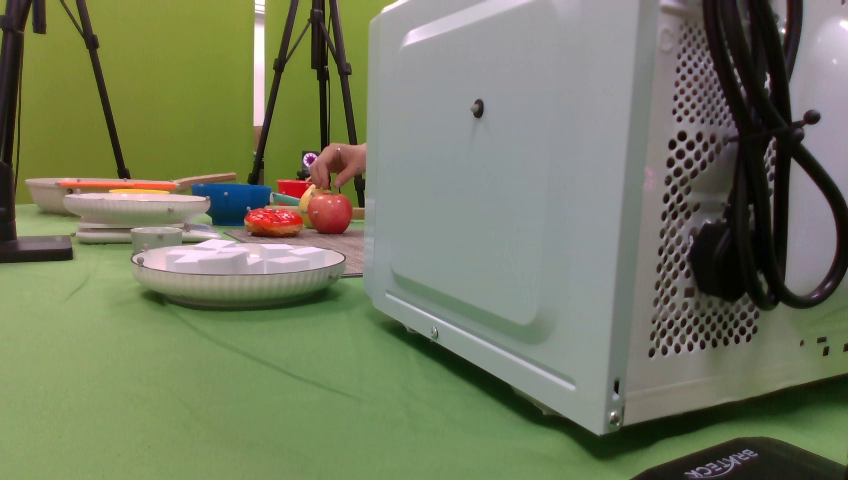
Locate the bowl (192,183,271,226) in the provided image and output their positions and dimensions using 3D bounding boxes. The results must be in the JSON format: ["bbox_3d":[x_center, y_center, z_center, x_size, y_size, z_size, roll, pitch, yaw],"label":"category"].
[{"bbox_3d":[-0.382,-0.071,1.202,0.151,0.077,0.151,3,7,0],"label":"bowl"}]

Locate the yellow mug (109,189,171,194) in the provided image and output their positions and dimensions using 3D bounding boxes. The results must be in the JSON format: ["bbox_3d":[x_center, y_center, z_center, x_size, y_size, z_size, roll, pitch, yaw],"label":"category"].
[{"bbox_3d":[-0.519,-0.055,1.080,0.099,0.064,0.131,7,10,26],"label":"yellow mug"}]

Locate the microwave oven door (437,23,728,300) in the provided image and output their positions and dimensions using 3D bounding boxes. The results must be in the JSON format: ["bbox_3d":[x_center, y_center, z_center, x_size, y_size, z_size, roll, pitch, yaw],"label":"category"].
[{"bbox_3d":[0.180,-0.073,0.621,0.358,0.243,0.039,-2,8,-29],"label":"microwave oven door"}]

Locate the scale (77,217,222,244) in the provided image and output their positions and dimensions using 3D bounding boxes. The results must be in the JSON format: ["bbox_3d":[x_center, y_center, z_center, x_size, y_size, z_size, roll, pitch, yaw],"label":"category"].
[{"bbox_3d":[-0.434,-0.018,0.963,0.202,0.031,0.148,-1,8,-27],"label":"scale"}]

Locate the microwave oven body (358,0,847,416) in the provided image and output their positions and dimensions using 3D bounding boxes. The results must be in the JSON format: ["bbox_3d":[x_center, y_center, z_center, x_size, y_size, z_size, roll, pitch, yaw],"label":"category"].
[{"bbox_3d":[0.211,-0.047,0.474,0.444,0.260,0.324,-1,7,-28],"label":"microwave oven body"}]

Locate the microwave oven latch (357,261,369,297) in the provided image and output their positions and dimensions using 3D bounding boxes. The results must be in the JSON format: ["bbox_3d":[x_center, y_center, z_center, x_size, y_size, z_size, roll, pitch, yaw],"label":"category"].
[{"bbox_3d":[-0.019,0.033,0.530,0.079,0.029,0.030,-1,7,-27],"label":"microwave oven latch"}]

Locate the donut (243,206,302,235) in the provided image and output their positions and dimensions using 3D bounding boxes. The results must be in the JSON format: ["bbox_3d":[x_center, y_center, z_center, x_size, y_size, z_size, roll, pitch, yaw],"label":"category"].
[{"bbox_3d":[-0.261,-0.032,1.043,0.099,0.048,0.099,4,9,0],"label":"donut"}]

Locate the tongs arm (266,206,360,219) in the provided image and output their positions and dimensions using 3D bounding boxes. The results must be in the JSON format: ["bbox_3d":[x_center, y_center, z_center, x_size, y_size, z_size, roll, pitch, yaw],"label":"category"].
[{"bbox_3d":[-0.173,-0.061,1.362,0.387,0.026,0.050,-1,4,-31],"label":"tongs arm"}]

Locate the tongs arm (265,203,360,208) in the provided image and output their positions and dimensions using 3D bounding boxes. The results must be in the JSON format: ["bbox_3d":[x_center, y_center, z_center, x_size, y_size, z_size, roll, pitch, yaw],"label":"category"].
[{"bbox_3d":[-0.209,-0.069,1.439,0.389,0.027,0.028,1,0,-16],"label":"tongs arm"}]

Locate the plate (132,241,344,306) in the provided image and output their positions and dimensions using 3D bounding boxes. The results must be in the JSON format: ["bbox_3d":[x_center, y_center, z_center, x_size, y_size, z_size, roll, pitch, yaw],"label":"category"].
[{"bbox_3d":[-0.187,0.033,0.625,0.208,0.039,0.207,2,8,0],"label":"plate"}]

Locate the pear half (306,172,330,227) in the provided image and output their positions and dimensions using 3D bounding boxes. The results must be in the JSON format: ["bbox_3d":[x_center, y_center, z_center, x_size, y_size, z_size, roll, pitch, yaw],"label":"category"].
[{"bbox_3d":[-0.200,-0.079,1.203,0.056,0.110,0.076,3,11,1],"label":"pear half"}]

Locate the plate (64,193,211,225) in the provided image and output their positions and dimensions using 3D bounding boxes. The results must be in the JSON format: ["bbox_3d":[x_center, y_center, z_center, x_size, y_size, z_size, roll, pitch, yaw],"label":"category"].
[{"bbox_3d":[-0.446,-0.050,0.952,0.209,0.038,0.209,2,7,0],"label":"plate"}]

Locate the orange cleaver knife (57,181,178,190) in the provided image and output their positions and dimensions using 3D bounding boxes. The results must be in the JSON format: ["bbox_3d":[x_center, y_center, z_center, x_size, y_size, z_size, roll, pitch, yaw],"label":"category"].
[{"bbox_3d":[-0.600,-0.109,1.189,0.212,0.012,0.077,-1,11,-26],"label":"orange cleaver knife"}]

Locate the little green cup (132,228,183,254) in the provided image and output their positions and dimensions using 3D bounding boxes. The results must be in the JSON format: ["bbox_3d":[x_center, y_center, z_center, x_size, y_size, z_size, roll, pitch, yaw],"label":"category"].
[{"bbox_3d":[-0.342,0.006,0.779,0.061,0.038,0.061,2,8,0],"label":"little green cup"}]

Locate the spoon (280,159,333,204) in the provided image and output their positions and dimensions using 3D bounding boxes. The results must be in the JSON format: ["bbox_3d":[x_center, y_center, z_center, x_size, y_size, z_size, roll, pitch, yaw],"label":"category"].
[{"bbox_3d":[-0.316,-0.159,1.640,0.194,0.022,0.041,-50,32,-20],"label":"spoon"}]

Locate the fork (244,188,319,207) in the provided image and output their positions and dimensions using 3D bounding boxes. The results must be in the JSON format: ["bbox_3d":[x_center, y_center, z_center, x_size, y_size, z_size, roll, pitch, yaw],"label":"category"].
[{"bbox_3d":[-0.356,-0.105,1.526,0.208,0.018,0.028,16,-5,-41],"label":"fork"}]

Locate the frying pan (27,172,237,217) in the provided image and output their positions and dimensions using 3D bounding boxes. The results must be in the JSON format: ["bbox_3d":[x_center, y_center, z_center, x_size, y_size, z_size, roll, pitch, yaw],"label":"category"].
[{"bbox_3d":[-0.624,-0.118,1.387,0.305,0.102,0.490,8,17,32],"label":"frying pan"}]

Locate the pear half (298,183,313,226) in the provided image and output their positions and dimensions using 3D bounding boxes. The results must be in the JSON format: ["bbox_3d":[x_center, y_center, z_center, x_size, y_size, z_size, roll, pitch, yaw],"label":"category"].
[{"bbox_3d":[-0.235,-0.071,1.207,0.031,0.088,0.070,3,10,0],"label":"pear half"}]

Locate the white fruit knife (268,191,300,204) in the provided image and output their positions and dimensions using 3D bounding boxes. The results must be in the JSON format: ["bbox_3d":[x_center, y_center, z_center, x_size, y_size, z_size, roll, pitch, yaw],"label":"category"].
[{"bbox_3d":[-0.364,-0.105,1.464,0.208,0.027,0.016,15,-1,-34],"label":"white fruit knife"}]

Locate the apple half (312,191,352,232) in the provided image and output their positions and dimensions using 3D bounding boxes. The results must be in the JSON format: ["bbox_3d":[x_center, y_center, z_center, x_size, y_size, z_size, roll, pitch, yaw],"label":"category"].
[{"bbox_3d":[-0.160,-0.050,1.101,0.053,0.074,0.081,9,7,23],"label":"apple half"}]

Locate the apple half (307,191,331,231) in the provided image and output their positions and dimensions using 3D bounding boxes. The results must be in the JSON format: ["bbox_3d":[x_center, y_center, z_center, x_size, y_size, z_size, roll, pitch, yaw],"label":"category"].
[{"bbox_3d":[-0.197,-0.055,1.114,0.032,0.081,0.081,9,9,21],"label":"apple half"}]
